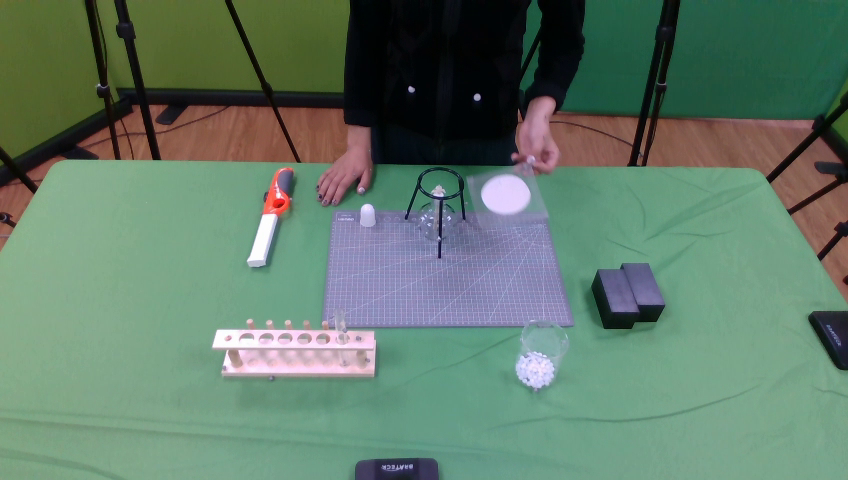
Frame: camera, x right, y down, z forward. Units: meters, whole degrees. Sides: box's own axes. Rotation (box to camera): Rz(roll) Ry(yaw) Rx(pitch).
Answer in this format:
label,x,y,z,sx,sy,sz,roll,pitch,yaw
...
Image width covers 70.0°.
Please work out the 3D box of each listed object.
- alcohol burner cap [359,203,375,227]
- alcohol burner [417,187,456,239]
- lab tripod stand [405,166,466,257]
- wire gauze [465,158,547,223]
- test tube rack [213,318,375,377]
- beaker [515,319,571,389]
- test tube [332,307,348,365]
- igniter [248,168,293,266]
label,x,y,z,sx,sy,sz,roll,pitch,yaw
alcohol burner cap,-0.115,-0.053,1.224,0.034,0.048,0.033,3,47,-3
alcohol burner,0.026,-0.059,1.189,0.078,0.120,0.077,1,48,-1
lab tripod stand,0.030,-0.063,1.180,0.148,0.132,0.147,3,47,-3
wire gauze,0.145,-0.088,1.084,0.125,0.011,0.120,-10,59,0
test tube rack,-0.202,0.170,0.977,0.242,0.085,0.066,1,46,-3
beaker,0.186,0.185,0.980,0.074,0.101,0.083,-23,51,-24
test tube,-0.128,0.151,0.931,0.017,0.151,0.017,1,50,-2
igniter,-0.307,-0.055,1.225,0.057,0.025,0.275,-3,45,6
